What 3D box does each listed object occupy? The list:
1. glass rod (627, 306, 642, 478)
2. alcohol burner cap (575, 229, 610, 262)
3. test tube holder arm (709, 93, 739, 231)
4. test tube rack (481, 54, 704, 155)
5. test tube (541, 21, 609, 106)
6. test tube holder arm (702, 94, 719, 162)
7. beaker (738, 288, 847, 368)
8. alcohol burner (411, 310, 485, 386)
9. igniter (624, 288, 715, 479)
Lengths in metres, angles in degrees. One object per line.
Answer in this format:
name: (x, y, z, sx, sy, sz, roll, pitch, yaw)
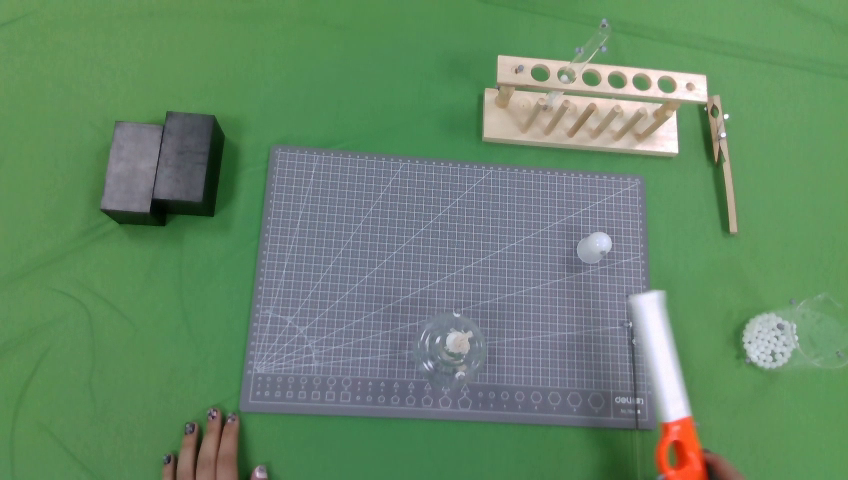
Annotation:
glass rod: (0.234, 0.161, 0.677, 0.008, 0.008, 0.198, 3, 75, -6)
alcohol burner cap: (0.196, 0.004, 0.695, 0.034, 0.048, 0.033, 1, 76, -5)
test tube holder arm: (0.372, -0.099, 0.754, 0.013, 0.015, 0.177, -12, 75, 28)
test tube rack: (0.194, -0.157, 0.716, 0.243, 0.085, 0.066, 4, 75, -5)
test tube: (0.162, -0.189, 0.670, 0.017, 0.150, 0.017, 4, 72, -11)
test tube holder arm: (0.364, -0.141, 0.766, 0.010, 0.015, 0.087, -11, 75, 28)
beaker: (0.404, 0.101, 0.666, 0.074, 0.100, 0.083, 17, 74, -1)
alcohol burner: (0.026, 0.107, 0.614, 0.078, 0.119, 0.077, 2, 73, -5)
igniter: (0.249, 0.185, 0.604, 0.057, 0.025, 0.276, -11, 85, -19)
